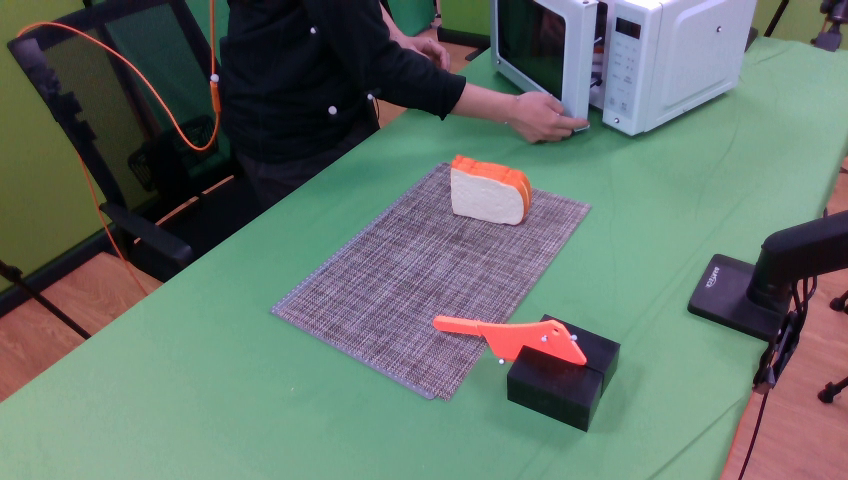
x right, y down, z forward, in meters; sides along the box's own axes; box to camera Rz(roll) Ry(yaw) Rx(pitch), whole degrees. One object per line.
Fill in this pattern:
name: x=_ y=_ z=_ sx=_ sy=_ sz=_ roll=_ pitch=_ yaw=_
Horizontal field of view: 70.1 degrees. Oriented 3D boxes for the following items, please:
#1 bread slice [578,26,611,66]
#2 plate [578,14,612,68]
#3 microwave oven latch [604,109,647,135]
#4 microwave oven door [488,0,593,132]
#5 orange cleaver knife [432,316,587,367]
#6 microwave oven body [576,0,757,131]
bread slice: x=0.362 y=-0.426 z=1.326 sx=0.107 sy=0.018 sz=0.133 roll=0 pitch=52 yaw=5
plate: x=0.385 y=-0.427 z=1.313 sx=0.207 sy=0.039 sz=0.206 roll=-3 pitch=45 yaw=3
microwave oven latch: x=0.378 y=-0.225 z=1.139 sx=0.030 sy=0.029 sz=0.078 roll=-26 pitch=43 yaw=-20
microwave oven door: x=0.223 y=-0.401 z=1.210 sx=0.039 sy=0.245 sz=0.352 roll=-19 pitch=42 yaw=-14
orange cleaver knife: x=0.101 y=0.127 z=0.761 sx=0.210 sy=0.077 sz=0.012 roll=-1 pitch=34 yaw=40
microwave oven body: x=0.396 y=-0.448 z=1.248 sx=0.327 sy=0.261 sz=0.437 roll=-27 pitch=44 yaw=-21
